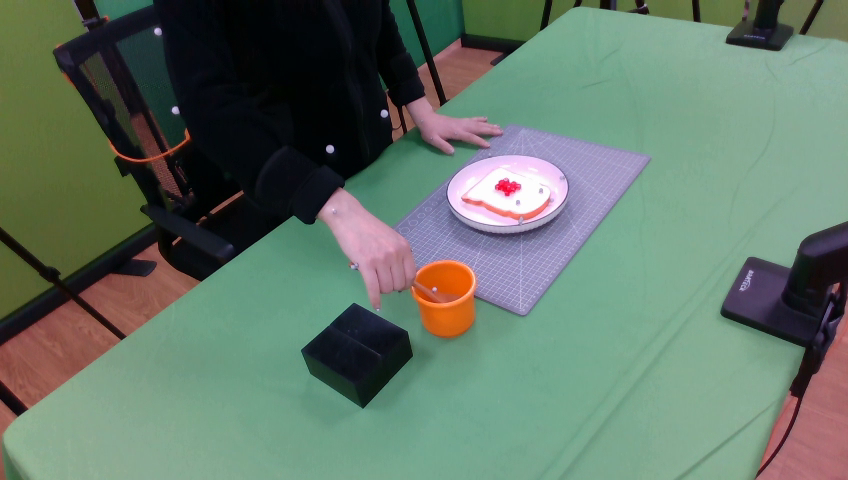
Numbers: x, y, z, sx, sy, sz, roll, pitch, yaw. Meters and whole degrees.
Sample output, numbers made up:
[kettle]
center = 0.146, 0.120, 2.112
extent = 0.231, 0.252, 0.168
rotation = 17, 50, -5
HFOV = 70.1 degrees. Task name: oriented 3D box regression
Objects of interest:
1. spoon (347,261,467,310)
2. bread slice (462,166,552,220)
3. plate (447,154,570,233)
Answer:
[spoon]
center = -0.018, 0.058, 0.797
extent = 0.021, 0.195, 0.041
rotation = -57, 34, 10
[bread slice]
center = 0.150, -0.079, 1.036
extent = 0.133, 0.018, 0.107
rotation = 22, 50, 31
[plate]
center = 0.143, -0.076, 1.032
extent = 0.209, 0.038, 0.208
rotation = -5, 40, 5
